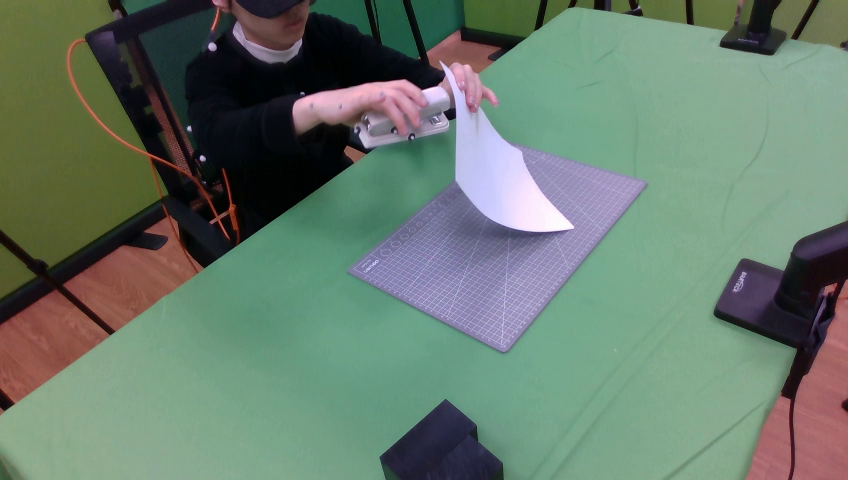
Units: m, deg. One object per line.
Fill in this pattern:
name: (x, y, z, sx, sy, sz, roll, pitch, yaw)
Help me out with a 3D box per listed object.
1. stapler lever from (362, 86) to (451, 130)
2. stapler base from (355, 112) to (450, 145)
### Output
stapler lever: (-0.019, -0.169, 0.771, 0.119, 0.040, 0.026, -16, 61, -26)
stapler base: (-0.024, -0.156, 0.792, 0.131, 0.024, 0.041, -16, 61, -26)
